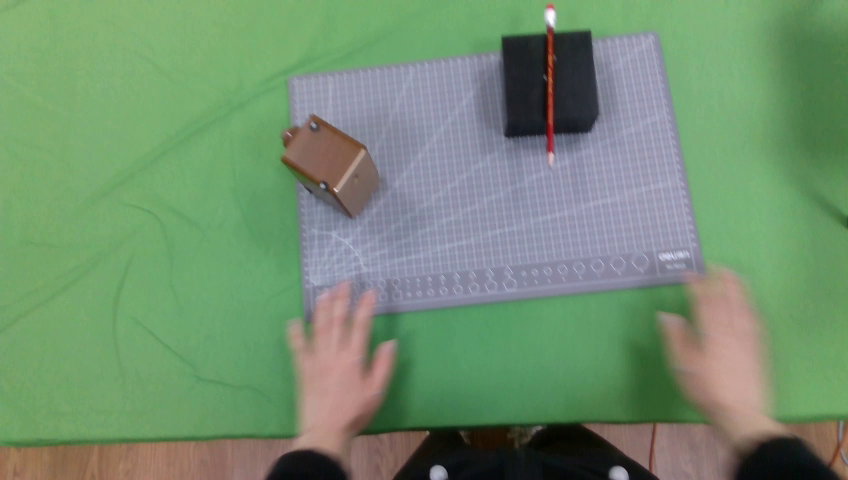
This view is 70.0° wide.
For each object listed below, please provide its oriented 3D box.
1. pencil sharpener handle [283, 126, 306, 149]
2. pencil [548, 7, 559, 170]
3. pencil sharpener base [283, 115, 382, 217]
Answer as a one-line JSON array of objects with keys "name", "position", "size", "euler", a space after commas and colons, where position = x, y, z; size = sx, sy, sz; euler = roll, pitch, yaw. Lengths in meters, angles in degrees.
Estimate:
[{"name": "pencil sharpener handle", "position": [-0.140, -0.111, 0.659], "size": [0.030, 0.068, 0.036], "euler": [33, 90, 10]}, {"name": "pencil", "position": [0.142, -0.168, 0.664], "size": [0.012, 0.012, 0.193], "euler": [2, 78, 4]}, {"name": "pencil sharpener base", "position": [-0.098, -0.079, 0.663], "size": [0.076, 0.107, 0.061], "euler": [33, 83, 10]}]
